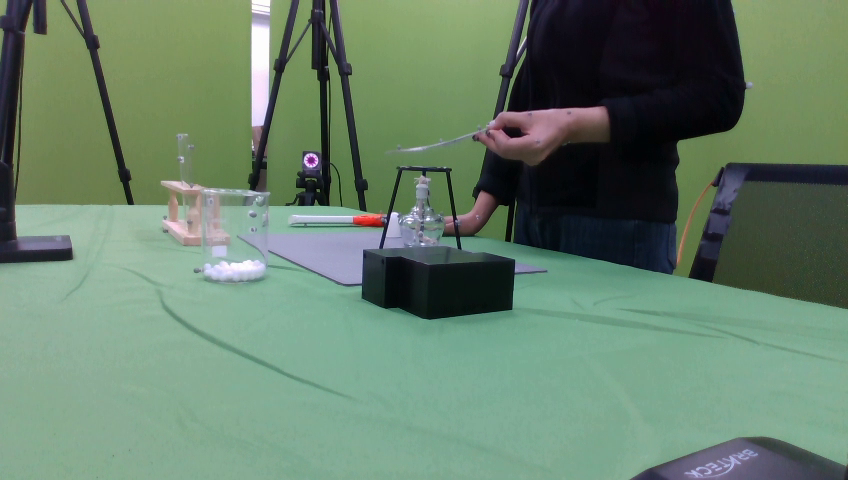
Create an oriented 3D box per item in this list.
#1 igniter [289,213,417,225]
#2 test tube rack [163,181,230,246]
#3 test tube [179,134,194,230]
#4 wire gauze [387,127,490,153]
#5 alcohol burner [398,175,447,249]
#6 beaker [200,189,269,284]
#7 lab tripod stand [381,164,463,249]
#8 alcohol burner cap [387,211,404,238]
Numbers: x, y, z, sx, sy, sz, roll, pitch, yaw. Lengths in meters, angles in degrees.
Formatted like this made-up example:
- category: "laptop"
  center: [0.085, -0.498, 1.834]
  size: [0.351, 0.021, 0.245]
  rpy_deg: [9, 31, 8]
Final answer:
- category: "igniter"
  center: [-0.144, -0.044, 1.275]
  size: [0.278, 0.025, 0.057]
  rpy_deg: [-1, -2, -27]
- category: "test tube rack"
  center: [-0.387, -0.050, 1.015]
  size: [0.067, 0.085, 0.241]
  rpy_deg: [-2, 9, -30]
- category: "test tube"
  center: [-0.366, -0.089, 0.938]
  size: [0.017, 0.150, 0.017]
  rpy_deg: [-1, 9, 1]
- category: "wire gauze"
  center: [0.019, -0.144, 0.899]
  size: [0.122, 0.011, 0.124]
  rpy_deg: [-19, 11, -29]
- category: "alcohol burner"
  center: [-0.002, -0.046, 0.973]
  size: [0.078, 0.119, 0.078]
  rpy_deg: [0, 7, 0]
- category: "beaker"
  center: [-0.209, -0.006, 0.676]
  size: [0.073, 0.100, 0.084]
  rpy_deg: [7, 8, 28]
- category: "lab tripod stand"
  center: [-0.003, -0.055, 0.967]
  size: [0.148, 0.131, 0.148]
  rpy_deg: [2, 9, 0]
- category: "alcohol burner cap"
  center: [-0.053, -0.029, 1.107]
  size: [0.034, 0.048, 0.034]
  rpy_deg: [2, 9, 0]
